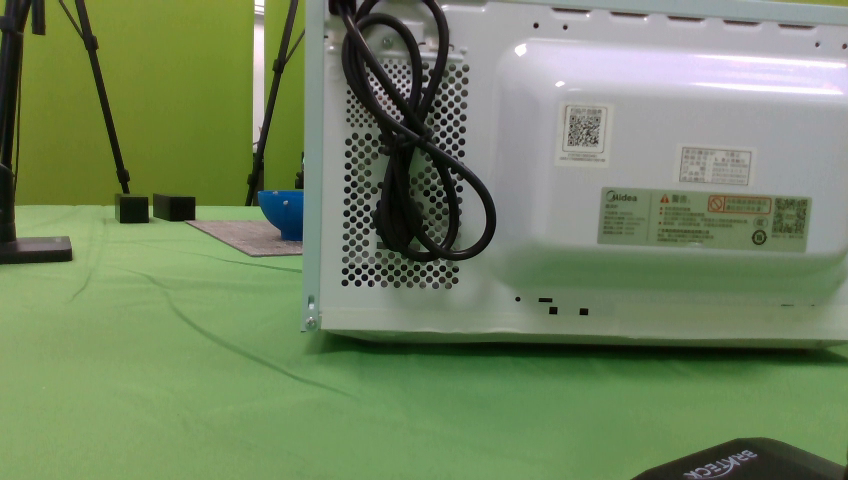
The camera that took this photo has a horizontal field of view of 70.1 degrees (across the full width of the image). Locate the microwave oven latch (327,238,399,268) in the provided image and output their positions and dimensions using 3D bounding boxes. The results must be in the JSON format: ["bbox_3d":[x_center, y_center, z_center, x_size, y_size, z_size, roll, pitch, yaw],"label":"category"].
[{"bbox_3d":[-0.069,0.015,0.694,0.079,0.029,0.030,3,7,-3],"label":"microwave oven latch"}]

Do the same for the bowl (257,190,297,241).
[{"bbox_3d":[-0.206,-0.041,1.027,0.151,0.077,0.151,3,8,0],"label":"bowl"}]

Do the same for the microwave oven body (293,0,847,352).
[{"bbox_3d":[0.122,-0.055,0.550,0.442,0.260,0.325,3,7,-5],"label":"microwave oven body"}]

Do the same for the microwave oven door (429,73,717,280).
[{"bbox_3d":[0.176,-0.089,0.788,0.354,0.243,0.039,6,7,27],"label":"microwave oven door"}]
